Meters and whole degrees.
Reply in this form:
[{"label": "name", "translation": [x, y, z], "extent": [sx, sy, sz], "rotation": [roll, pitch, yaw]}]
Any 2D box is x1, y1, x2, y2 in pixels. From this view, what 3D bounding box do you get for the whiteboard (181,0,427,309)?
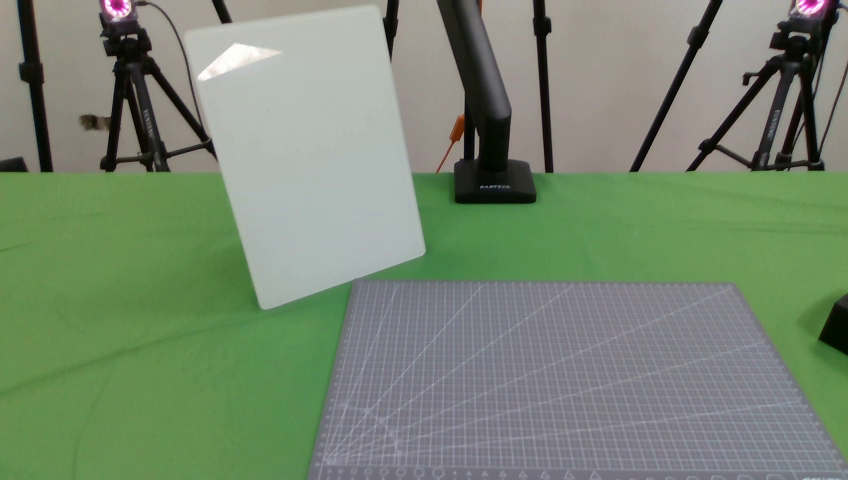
[{"label": "whiteboard", "translation": [-0.148, -0.109, 0.738], "extent": [0.218, 0.307, 0.142], "rotation": [-19, 19, -24]}]
